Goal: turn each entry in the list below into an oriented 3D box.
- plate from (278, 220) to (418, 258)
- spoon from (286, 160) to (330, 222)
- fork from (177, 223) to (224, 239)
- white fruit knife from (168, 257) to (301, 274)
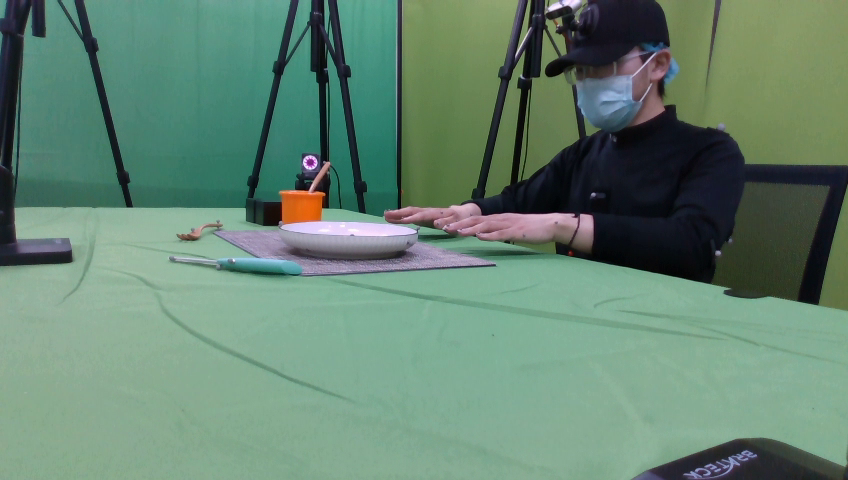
[{"bbox_3d":[-0.114,-0.002,0.914,0.209,0.038,0.209,2,7,0],"label":"plate"},{"bbox_3d":[-0.233,-0.101,1.252,0.041,0.193,0.022,3,-38,23],"label":"spoon"},{"bbox_3d":[-0.386,-0.019,1.061,0.028,0.018,0.207,-3,9,-1],"label":"fork"},{"bbox_3d":[-0.243,0.029,0.749,0.206,0.016,0.027,2,-17,26],"label":"white fruit knife"}]
